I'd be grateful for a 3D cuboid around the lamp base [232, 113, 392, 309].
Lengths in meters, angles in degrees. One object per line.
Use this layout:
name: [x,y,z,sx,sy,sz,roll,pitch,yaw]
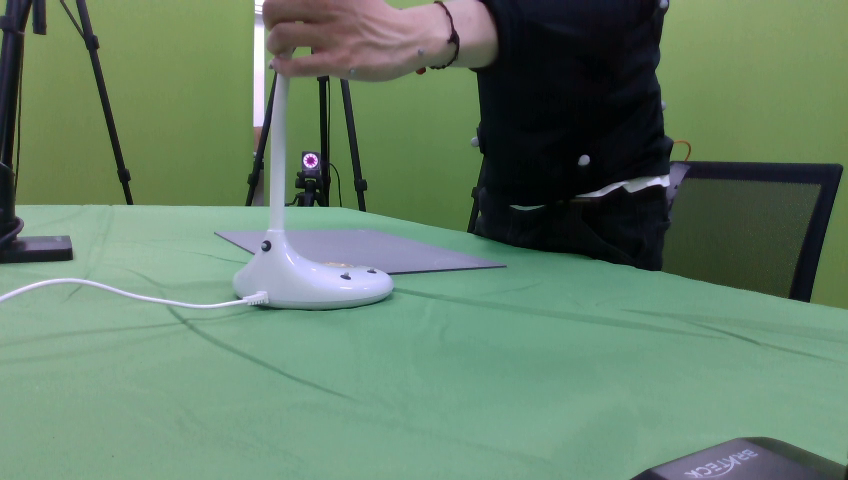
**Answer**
lamp base: [-0.113,-0.031,0.594,0.160,0.180,0.179,4,10,18]
